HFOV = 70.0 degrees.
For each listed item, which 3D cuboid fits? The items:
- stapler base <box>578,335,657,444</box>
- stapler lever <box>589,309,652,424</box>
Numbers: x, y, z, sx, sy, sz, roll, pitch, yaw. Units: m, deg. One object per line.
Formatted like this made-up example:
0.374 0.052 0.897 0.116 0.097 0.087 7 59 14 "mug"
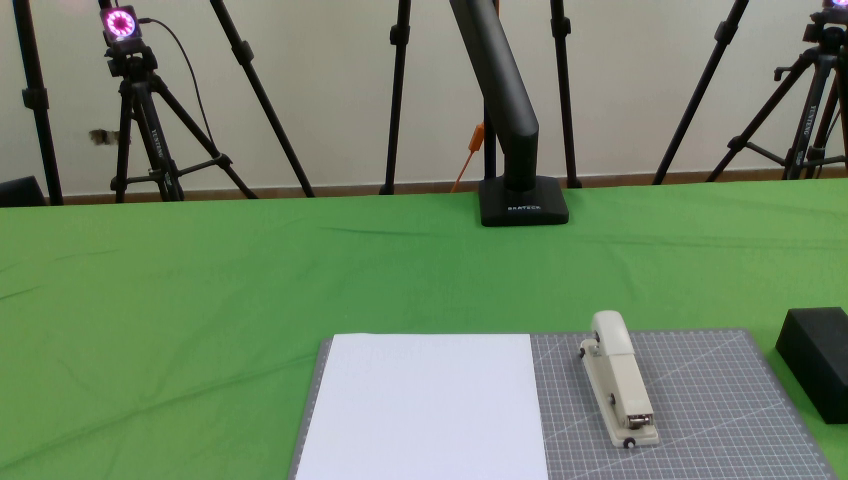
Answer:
0.179 0.131 0.570 0.041 0.024 0.129 -5 36 1 "stapler base"
0.178 0.111 0.554 0.027 0.040 0.117 -6 36 1 "stapler lever"
